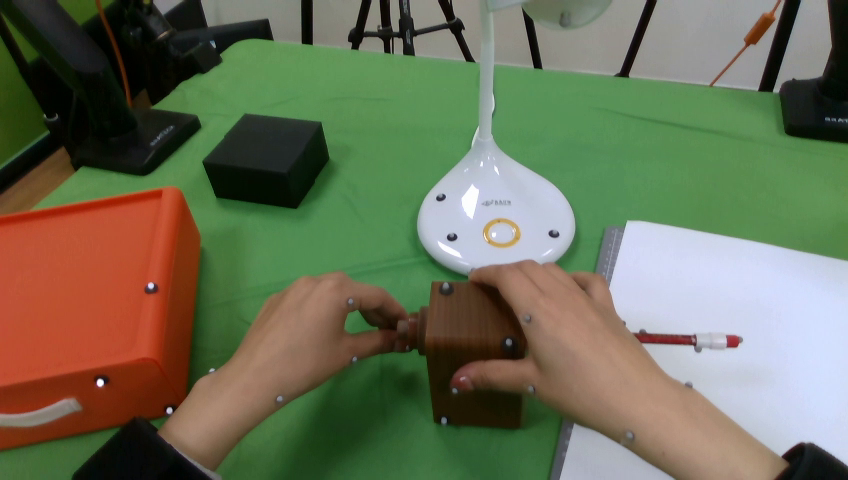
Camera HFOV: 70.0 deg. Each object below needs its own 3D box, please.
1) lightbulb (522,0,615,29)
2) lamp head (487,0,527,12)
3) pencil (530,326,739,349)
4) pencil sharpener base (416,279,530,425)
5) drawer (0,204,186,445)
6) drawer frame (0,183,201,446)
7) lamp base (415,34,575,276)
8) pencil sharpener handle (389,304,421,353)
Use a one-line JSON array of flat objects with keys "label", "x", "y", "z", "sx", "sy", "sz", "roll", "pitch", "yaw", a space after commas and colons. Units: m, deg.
[{"label": "lightbulb", "x": 0.081, "y": -0.175, "z": 0.338, "sx": 0.059, "sy": 0.108, "sz": 0.059, "roll": -5, "pitch": 19, "yaw": 2}, {"label": "lamp head", "x": 0.075, "y": -0.200, "z": 0.336, "sx": 0.112, "sy": 0.123, "sz": 0.112, "roll": -16, "pitch": 14, "yaw": 4}, {"label": "pencil", "x": 0.117, "y": 0.066, "z": 0.420, "sx": 0.194, "sy": 0.012, "sz": 0.012, "roll": 2, "pitch": 43, "yaw": 5}, {"label": "pencil sharpener base", "x": 0.036, "y": 0.084, "z": 0.446, "sx": 0.076, "sy": 0.108, "sz": 0.061, "roll": 0, "pitch": 44, "yaw": 6}, {"label": "drawer", "x": -0.305, "y": 0.061, "z": 0.519, "sx": 0.195, "sy": 0.074, "sz": 0.209, "roll": -11, "pitch": 43, "yaw": -6}, {"label": "drawer frame", "x": -0.307, "y": 0.058, "z": 0.520, "sx": 0.202, "sy": 0.083, "sz": 0.211, "roll": -11, "pitch": 43, "yaw": -6}, {"label": "lamp base", "x": 0.064, "y": -0.087, "z": 0.572, "sx": 0.161, "sy": 0.182, "sz": 0.177, "roll": -10, "pitch": 41, "yaw": -6}, {"label": "pencil sharpener handle", "x": -0.015, "y": 0.067, "z": 0.447, "sx": 0.030, "sy": 0.068, "sz": 0.036, "roll": 0, "pitch": 75, "yaw": 6}]
